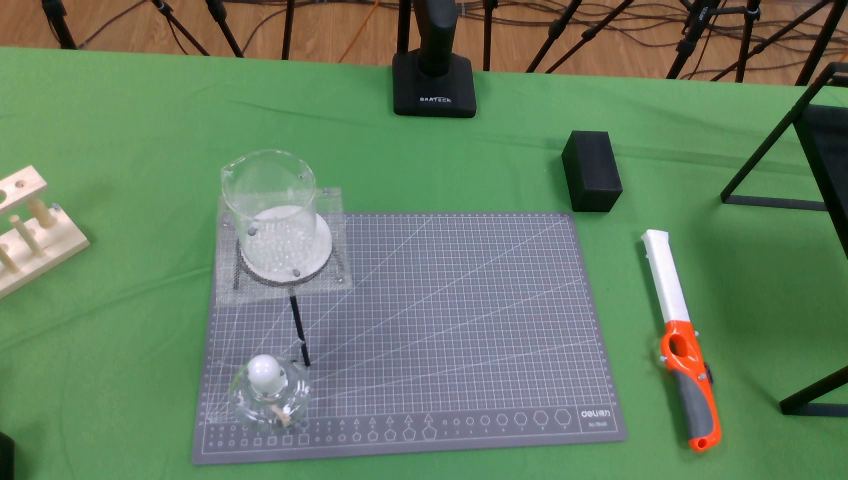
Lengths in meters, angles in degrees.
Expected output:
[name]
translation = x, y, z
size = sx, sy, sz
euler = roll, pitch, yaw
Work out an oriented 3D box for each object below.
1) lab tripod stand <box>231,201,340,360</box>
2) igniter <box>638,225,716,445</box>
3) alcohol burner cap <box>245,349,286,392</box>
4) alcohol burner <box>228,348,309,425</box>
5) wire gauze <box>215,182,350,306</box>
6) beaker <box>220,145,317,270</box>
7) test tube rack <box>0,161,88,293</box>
[lab tripod stand]
translation = -0.141, 0.036, 0.635
size = 0.149, 0.132, 0.147
euler = 4, 59, -7
[igniter]
translation = 0.297, 0.102, 0.719
size = 0.057, 0.025, 0.274
euler = 8, 58, -15
[alcohol burner cap]
translation = -0.146, 0.118, 0.553
size = 0.034, 0.048, 0.033
euler = 1, 63, -2
[alcohol burner]
translation = -0.151, 0.136, 0.585
size = 0.078, 0.120, 0.077
euler = 5, 57, -7
[wire gauze]
translation = -0.137, -0.002, 0.581
size = 0.122, 0.011, 0.124
euler = -6, 64, -9
[beaker]
translation = -0.136, -0.025, 0.538
size = 0.084, 0.101, 0.073
euler = 22, 59, 5
[test tube rack]
translation = -0.492, 0.025, 0.625
size = 0.066, 0.086, 0.242
euler = 43, 63, 18
